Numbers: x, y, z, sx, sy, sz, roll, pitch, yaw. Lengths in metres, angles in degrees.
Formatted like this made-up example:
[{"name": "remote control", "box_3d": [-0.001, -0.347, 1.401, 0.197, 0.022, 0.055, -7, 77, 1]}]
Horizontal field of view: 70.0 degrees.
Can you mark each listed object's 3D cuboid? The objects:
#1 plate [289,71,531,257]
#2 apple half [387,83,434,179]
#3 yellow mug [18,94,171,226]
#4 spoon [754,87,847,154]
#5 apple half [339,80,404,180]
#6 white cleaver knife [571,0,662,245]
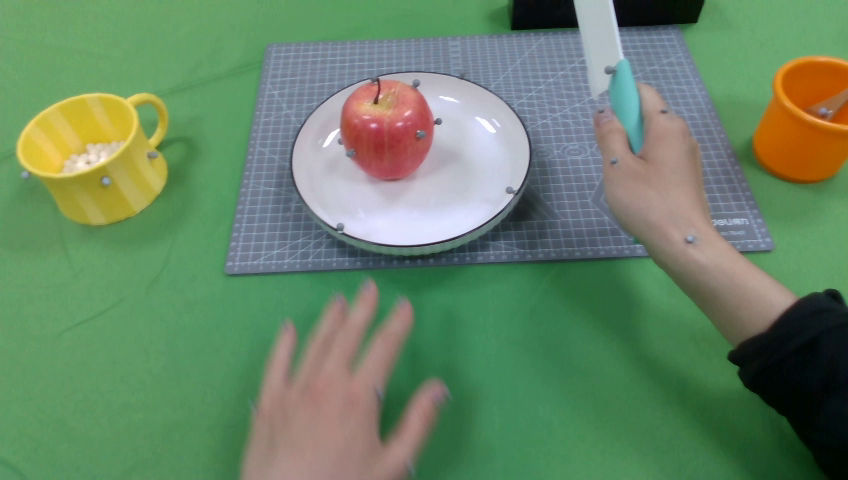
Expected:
[{"name": "plate", "box_3d": [-0.012, -0.067, 0.534, 0.209, 0.038, 0.207, -1, 55, 1]}, {"name": "apple half", "box_3d": [-0.007, -0.090, 0.517, 0.032, 0.082, 0.080, 5, 55, 12]}, {"name": "yellow mug", "box_3d": [-0.279, -0.082, 0.541, 0.099, 0.064, 0.130, 27, 59, 20]}, {"name": "spoon", "box_3d": [0.370, -0.132, 0.499, 0.022, 0.194, 0.041, 25, 42, -34]}, {"name": "apple half", "box_3d": [-0.045, -0.094, 0.522, 0.053, 0.075, 0.080, 6, 58, 12]}, {"name": "white cleaver knife", "box_3d": [0.137, -0.138, 0.457, 0.021, 0.066, 0.286, -10, 91, -5]}]
